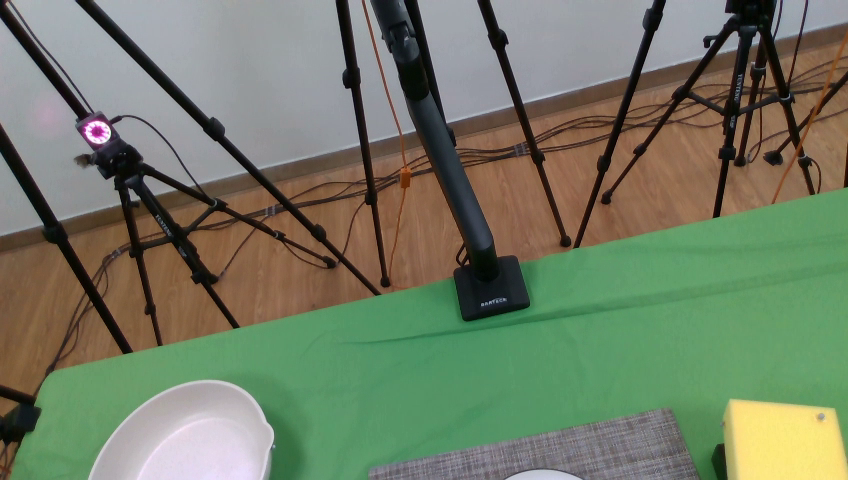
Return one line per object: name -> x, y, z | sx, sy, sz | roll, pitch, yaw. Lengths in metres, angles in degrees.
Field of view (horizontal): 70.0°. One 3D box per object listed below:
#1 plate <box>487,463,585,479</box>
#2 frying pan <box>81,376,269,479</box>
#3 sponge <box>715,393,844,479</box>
plate -> 0.146, 0.392, 0.769 | 0.207, 0.039, 0.205 | -7, 49, 9
frying pan -> -0.348, 0.415, 0.843 | 0.307, 0.104, 0.482 | -19, 40, 0
sponge -> 0.416, 0.289, 0.705 | 0.118, 0.061, 0.205 | 1, 50, 16
